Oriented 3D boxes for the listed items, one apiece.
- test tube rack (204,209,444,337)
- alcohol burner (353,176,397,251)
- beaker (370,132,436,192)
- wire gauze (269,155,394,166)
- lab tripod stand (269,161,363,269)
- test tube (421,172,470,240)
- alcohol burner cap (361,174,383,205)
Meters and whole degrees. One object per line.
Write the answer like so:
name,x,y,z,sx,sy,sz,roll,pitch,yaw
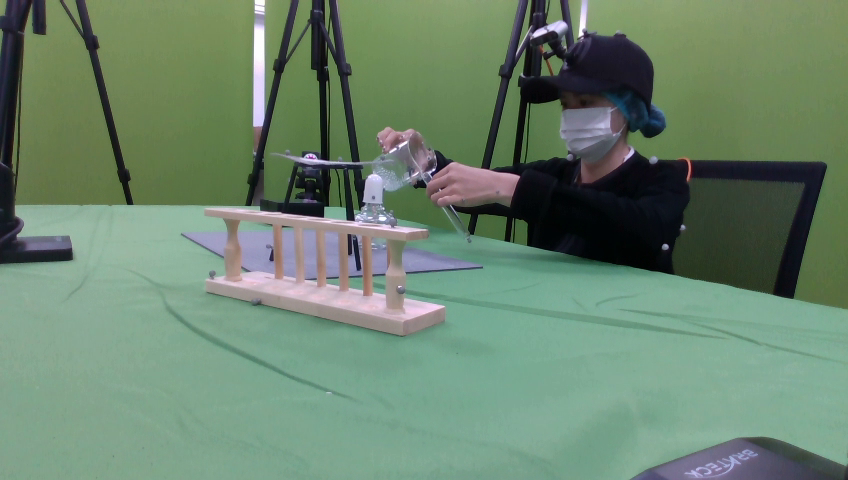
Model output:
test tube rack,-0.100,0.021,0.565,0.241,0.085,0.067,7,9,32
alcohol burner,-0.082,-0.043,0.950,0.078,0.119,0.078,1,8,0
beaker,-0.039,-0.132,1.069,0.100,0.084,0.074,-24,-22,36
wire gauze,-0.121,-0.102,0.785,0.122,0.011,0.124,-3,10,-39
lab tripod stand,-0.125,-0.036,0.794,0.148,0.131,0.148,5,7,0
test tube,0.035,-0.057,0.994,0.017,0.017,0.149,-4,50,-40
alcohol burner cap,-0.080,-0.078,0.945,0.034,0.048,0.034,5,8,0
